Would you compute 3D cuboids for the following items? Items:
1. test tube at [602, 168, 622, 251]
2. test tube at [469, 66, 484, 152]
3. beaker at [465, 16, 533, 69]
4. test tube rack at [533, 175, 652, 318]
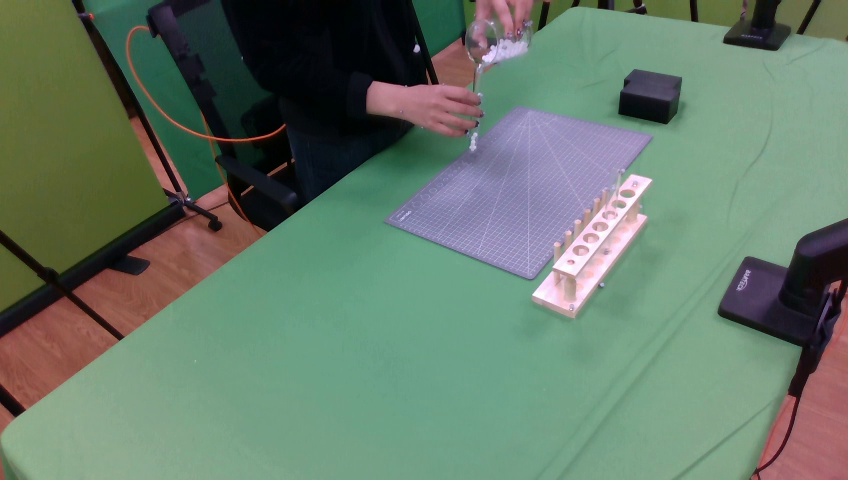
[{"bbox_3d":[0.264,-0.039,0.853,0.017,0.151,0.017,-5,44,6],"label":"test tube"},{"bbox_3d":[0.091,-0.226,1.055,0.017,0.151,0.017,2,25,-1],"label":"test tube"},{"bbox_3d":[0.130,-0.338,1.029,0.101,0.084,0.073,-24,47,-36],"label":"beaker"},{"bbox_3d":[0.251,-0.001,0.889,0.066,0.085,0.243,22,49,33],"label":"test tube rack"}]
